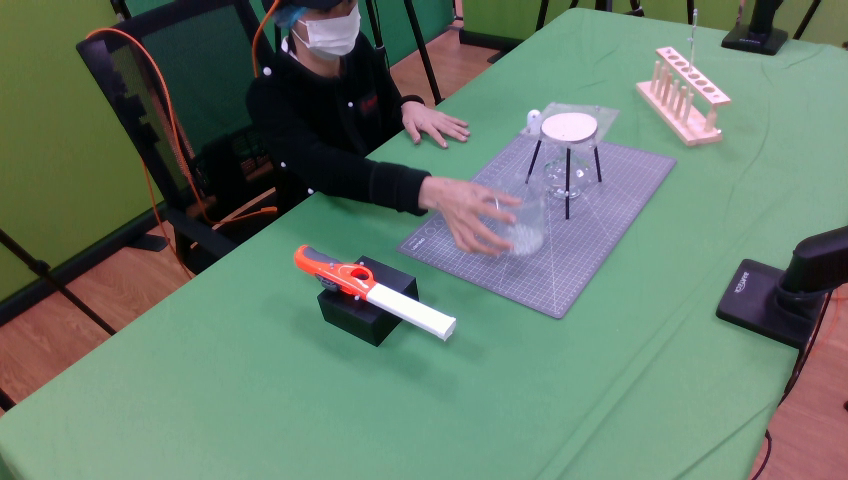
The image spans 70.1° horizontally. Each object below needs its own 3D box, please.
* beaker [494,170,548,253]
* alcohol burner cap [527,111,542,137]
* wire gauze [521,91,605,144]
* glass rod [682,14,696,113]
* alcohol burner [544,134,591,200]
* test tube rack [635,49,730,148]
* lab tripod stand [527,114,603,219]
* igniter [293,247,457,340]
[{"bbox_3d":[0.137,-0.036,0.864,0.073,0.101,0.084,25,52,35],"label":"beaker"},{"bbox_3d":[0.220,-0.233,1.200,0.034,0.048,0.033,-6,41,5],"label":"alcohol burner cap"},{"bbox_3d":[0.219,-0.191,0.948,0.121,0.011,0.125,8,49,13],"label":"wire gauze"},{"bbox_3d":[0.495,-0.326,1.132,0.008,0.201,0.008,-8,42,8],"label":"glass rod"},{"bbox_3d":[0.241,-0.127,1.014,0.078,0.119,0.077,-5,42,5],"label":"alcohol burner"},{"bbox_3d":[0.497,-0.283,1.184,0.067,0.085,0.240,-10,40,-2],"label":"test tube rack"},{"bbox_3d":[0.234,-0.129,1.002,0.148,0.132,0.147,-6,40,6],"label":"lab tripod stand"},{"bbox_3d":[-0.077,0.068,0.830,0.274,0.025,0.057,22,48,27],"label":"igniter"}]
